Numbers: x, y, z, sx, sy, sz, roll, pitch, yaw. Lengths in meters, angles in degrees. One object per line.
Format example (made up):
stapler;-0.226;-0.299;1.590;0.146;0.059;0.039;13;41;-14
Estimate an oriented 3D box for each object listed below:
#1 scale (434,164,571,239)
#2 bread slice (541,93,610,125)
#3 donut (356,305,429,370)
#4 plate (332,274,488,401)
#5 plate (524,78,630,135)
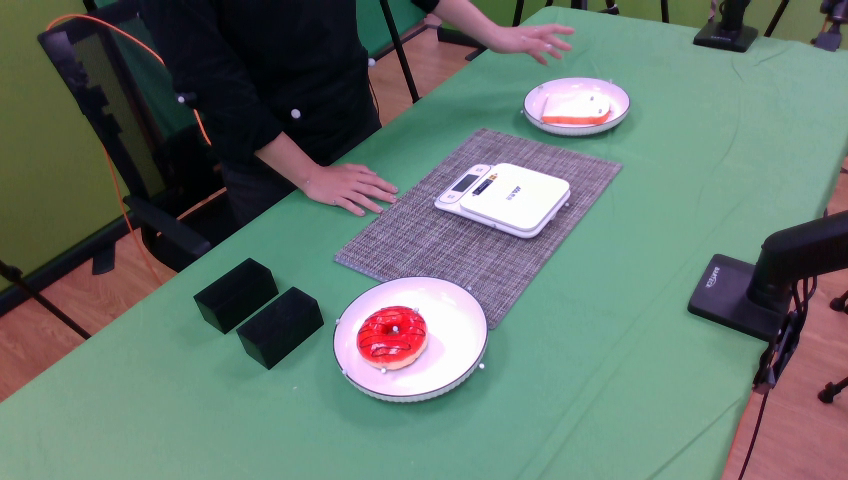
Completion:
scale;0.132;-0.075;1.025;0.199;0.032;0.149;22;48;30
bread slice;0.310;-0.267;1.227;0.131;0.019;0.105;7;43;15
donut;-0.041;0.127;0.798;0.099;0.048;0.098;-7;40;7
plate;-0.017;0.130;0.808;0.207;0.039;0.206;-4;41;4
plate;0.307;-0.265;1.223;0.209;0.038;0.208;-4;40;4
